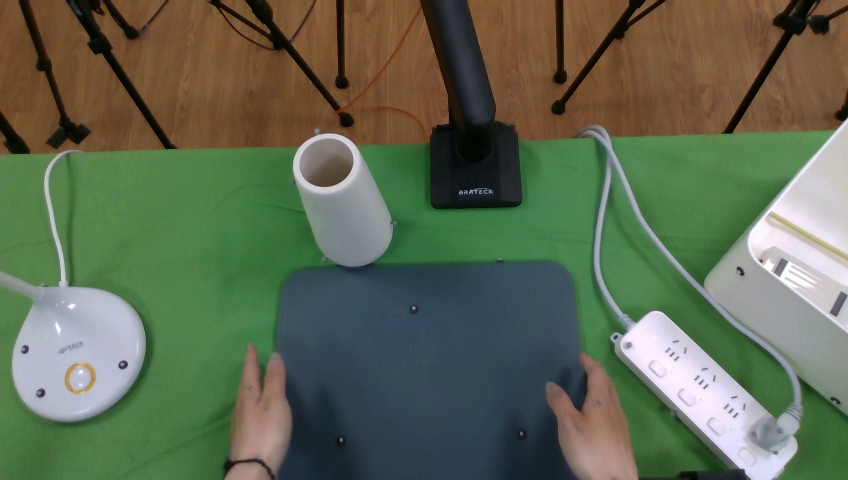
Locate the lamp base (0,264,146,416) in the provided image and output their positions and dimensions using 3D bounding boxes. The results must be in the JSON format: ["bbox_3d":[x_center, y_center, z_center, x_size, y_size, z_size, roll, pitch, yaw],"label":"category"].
[{"bbox_3d":[-0.428,0.093,0.666,0.160,0.181,0.178,-31,68,-9],"label":"lamp base"}]

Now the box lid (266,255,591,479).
[{"bbox_3d":[0.005,0.146,0.719,0.371,0.015,0.261,-2,69,2],"label":"box lid"}]

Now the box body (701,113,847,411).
[{"bbox_3d":[0.525,0.061,0.648,0.362,0.161,0.254,42,77,16],"label":"box body"}]

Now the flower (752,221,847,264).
[{"bbox_3d":[0.573,0.054,0.718,0.358,0.038,0.044,30,64,29],"label":"flower"}]

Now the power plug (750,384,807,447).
[{"bbox_3d":[0.384,0.192,0.650,0.072,0.053,0.035,-29,69,-13],"label":"power plug"}]

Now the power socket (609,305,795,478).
[{"bbox_3d":[0.313,0.168,0.687,0.072,0.033,0.225,-40,73,-12],"label":"power socket"}]

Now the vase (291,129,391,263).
[{"bbox_3d":[-0.093,-0.046,0.695,0.098,0.201,0.097,0,68,1],"label":"vase"}]

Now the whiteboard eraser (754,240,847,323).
[{"bbox_3d":[0.441,0.051,0.711,0.112,0.042,0.055,33,76,11],"label":"whiteboard eraser"}]
